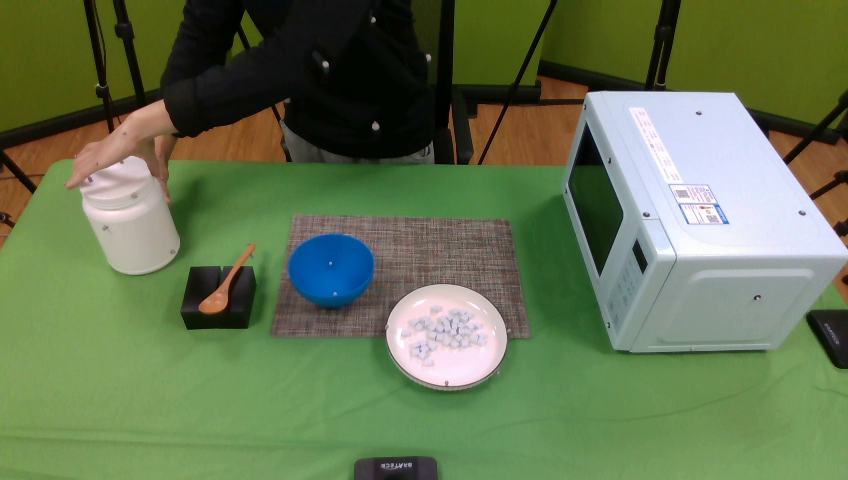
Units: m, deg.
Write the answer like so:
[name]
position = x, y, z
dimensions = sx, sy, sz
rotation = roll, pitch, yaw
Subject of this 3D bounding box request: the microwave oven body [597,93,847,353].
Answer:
[microwave oven body]
position = 0.475, -0.041, 1.109
dimensions = 0.326, 0.261, 0.438
rotation = -1, 45, -4

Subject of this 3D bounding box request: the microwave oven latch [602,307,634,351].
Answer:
[microwave oven latch]
position = 0.332, 0.153, 1.044
dimensions = 0.030, 0.029, 0.078
rotation = 0, 45, -4

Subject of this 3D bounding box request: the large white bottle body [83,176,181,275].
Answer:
[large white bottle body]
position = -0.524, -0.043, 1.086
dimensions = 0.131, 0.185, 0.130
rotation = 2, 46, -2

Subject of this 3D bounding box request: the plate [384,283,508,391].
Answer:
[plate]
position = 0.036, 0.166, 1.029
dimensions = 0.209, 0.038, 0.208
rotation = 2, 49, -2

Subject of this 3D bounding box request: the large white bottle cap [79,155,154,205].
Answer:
[large white bottle cap]
position = -0.519, -0.103, 1.026
dimensions = 0.115, 0.018, 0.114
rotation = 3, 46, -3

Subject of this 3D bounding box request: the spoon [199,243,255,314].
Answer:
[spoon]
position = -0.333, 0.063, 1.051
dimensions = 0.041, 0.022, 0.193
rotation = 6, 40, 9

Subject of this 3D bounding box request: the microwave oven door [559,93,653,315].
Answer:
[microwave oven door]
position = 0.327, -0.074, 1.123
dimensions = 0.039, 0.245, 0.353
rotation = -1, 46, -5

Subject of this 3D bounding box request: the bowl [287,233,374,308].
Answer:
[bowl]
position = -0.164, 0.068, 1.078
dimensions = 0.151, 0.077, 0.150
rotation = 2, 46, -2
